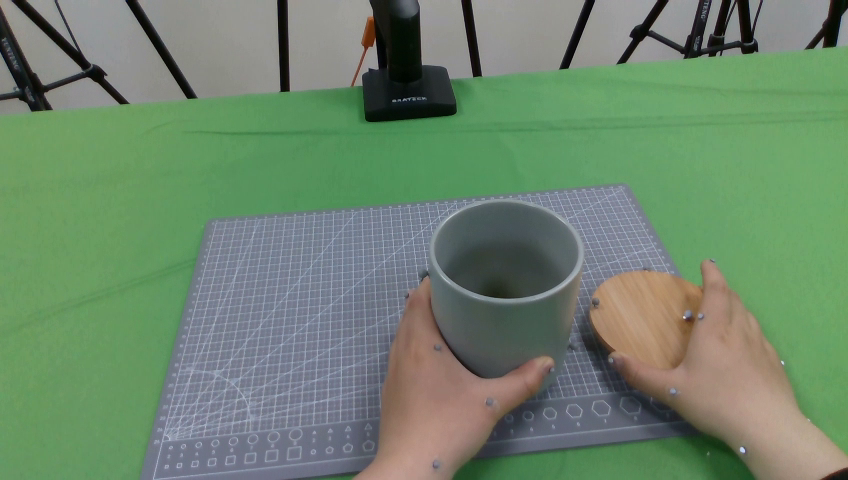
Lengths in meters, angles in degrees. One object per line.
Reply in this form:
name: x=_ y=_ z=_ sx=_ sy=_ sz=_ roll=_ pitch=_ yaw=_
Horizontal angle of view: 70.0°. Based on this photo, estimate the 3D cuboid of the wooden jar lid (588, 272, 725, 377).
wooden jar lid: x=0.191 y=0.071 z=0.503 sx=0.108 sy=0.021 sz=0.107 roll=-2 pitch=41 yaw=2

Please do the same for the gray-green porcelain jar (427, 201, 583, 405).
gray-green porcelain jar: x=0.057 y=0.052 z=0.450 sx=0.106 sy=0.127 sz=0.105 roll=-1 pitch=42 yaw=2
